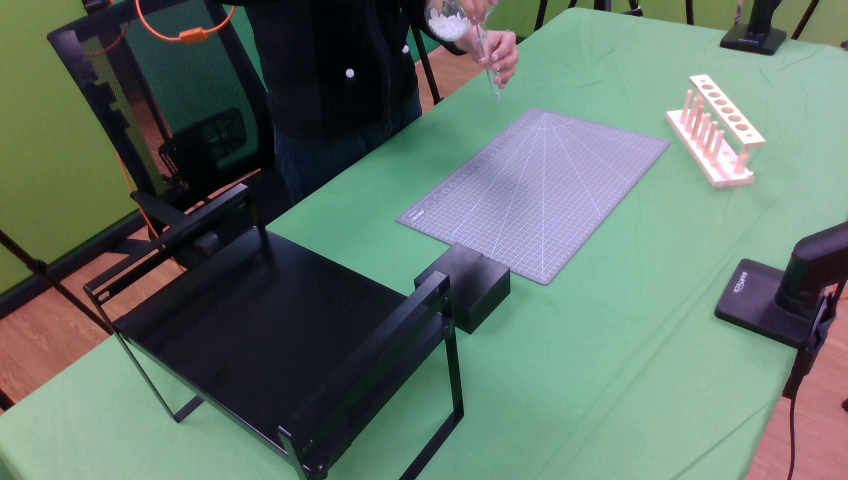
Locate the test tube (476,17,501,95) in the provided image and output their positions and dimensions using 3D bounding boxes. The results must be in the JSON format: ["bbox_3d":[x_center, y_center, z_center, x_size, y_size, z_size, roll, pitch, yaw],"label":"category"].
[{"bbox_3d":[0.106,-0.294,0.982,0.017,0.151,0.017,-9,53,13],"label":"test tube"}]

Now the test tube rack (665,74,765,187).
[{"bbox_3d":[0.512,-0.201,1.082,0.067,0.085,0.241,-6,41,2],"label":"test tube rack"}]

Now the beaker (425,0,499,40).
[{"bbox_3d":[0.054,-0.337,0.873,0.073,0.084,0.100,17,47,30],"label":"beaker"}]
